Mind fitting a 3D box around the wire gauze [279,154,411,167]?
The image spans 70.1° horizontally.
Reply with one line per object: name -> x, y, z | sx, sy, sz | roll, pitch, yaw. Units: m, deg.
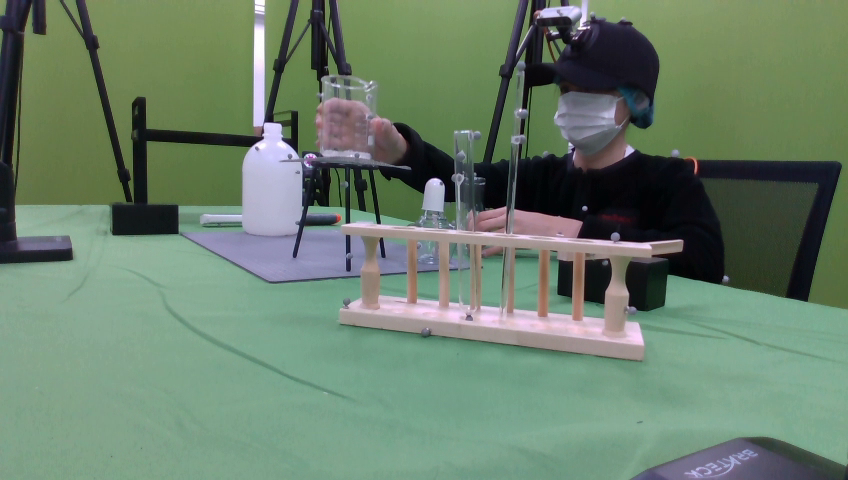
wire gauze -> -0.102, -0.104, 0.785 | 0.121, 0.011, 0.126 | 9, 8, 42

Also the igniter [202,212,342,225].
igniter -> -0.298, -0.043, 1.216 | 0.278, 0.025, 0.057 | -3, -2, -32

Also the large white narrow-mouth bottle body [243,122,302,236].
large white narrow-mouth bottle body -> -0.264, -0.109, 1.061 | 0.102, 0.194, 0.102 | 2, 8, 0

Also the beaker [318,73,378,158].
beaker -> -0.097, -0.158, 0.779 | 0.074, 0.100, 0.083 | -1, 6, -40

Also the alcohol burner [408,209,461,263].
alcohol burner -> 0.014, -0.029, 0.834 | 0.078, 0.119, 0.078 | 0, 6, 0

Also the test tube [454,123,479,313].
test tube -> 0.034, -0.016, 0.477 | 0.017, 0.150, 0.017 | -2, 9, 1

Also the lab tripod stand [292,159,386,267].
lab tripod stand -> -0.105, -0.039, 0.797 | 0.148, 0.131, 0.148 | 2, 5, 0

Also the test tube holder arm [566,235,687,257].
test tube holder arm -> 0.215, 0.006, 0.630 | 0.179, 0.015, 0.013 | -3, 9, -30

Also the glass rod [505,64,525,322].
glass rod -> 0.069, -0.029, 0.458 | 0.008, 0.199, 0.008 | 1, 15, 0

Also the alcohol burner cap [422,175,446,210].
alcohol burner cap -> 0.016, -0.065, 0.830 | 0.034, 0.048, 0.034 | 7, 5, 0

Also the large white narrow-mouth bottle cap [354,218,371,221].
large white narrow-mouth bottle cap -> -0.120, -0.029, 1.184 | 0.038, 0.024, 0.037 | 2, 8, 0

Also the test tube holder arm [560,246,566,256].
test tube holder arm -> 0.173, 0.007, 0.611 | 0.088, 0.015, 0.010 | -3, 9, -30

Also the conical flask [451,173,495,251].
conical flask -> 0.079, -0.046, 0.972 | 0.075, 0.122, 0.075 | 2, 7, 0

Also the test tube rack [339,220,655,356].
test tube rack -> 0.056, 0.032, 0.495 | 0.242, 0.085, 0.067 | 4, 7, 15
